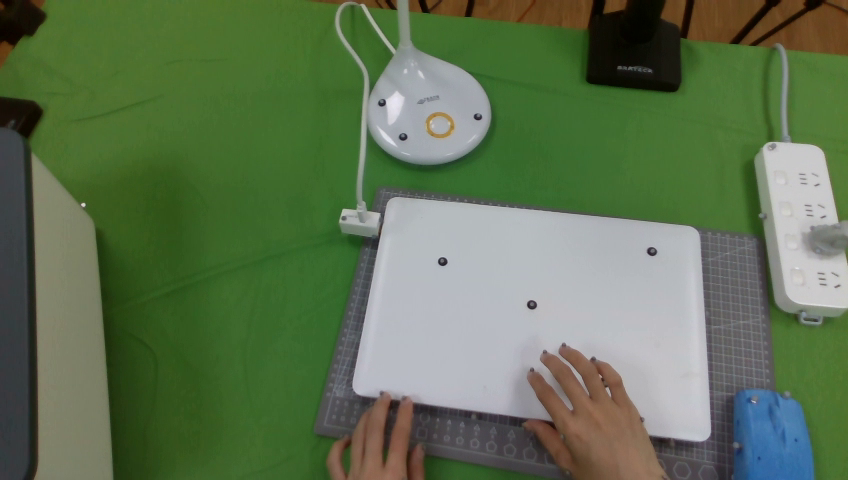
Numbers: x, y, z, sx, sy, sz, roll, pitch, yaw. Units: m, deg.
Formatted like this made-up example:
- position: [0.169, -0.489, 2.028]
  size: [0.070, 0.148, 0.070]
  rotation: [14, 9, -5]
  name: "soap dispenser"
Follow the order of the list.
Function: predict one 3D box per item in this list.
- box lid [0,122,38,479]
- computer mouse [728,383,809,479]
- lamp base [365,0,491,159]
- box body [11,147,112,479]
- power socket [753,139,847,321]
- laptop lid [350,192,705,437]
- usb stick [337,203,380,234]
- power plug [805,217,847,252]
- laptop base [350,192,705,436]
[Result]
- position: [-0.463, 0.067, 0.508]
  size: [0.263, 0.015, 0.368]
  rotation: [-16, 64, -7]
  name: "box lid"
- position: [0.322, 0.191, 0.569]
  size: [0.062, 0.041, 0.116]
  rotation: [11, 60, 10]
  name: "computer mouse"
- position: [-0.005, -0.216, 0.712]
  size: [0.161, 0.182, 0.177]
  rotation: [-27, 62, -12]
  name: "lamp base"
- position: [-0.461, 0.104, 0.574]
  size: [0.254, 0.161, 0.360]
  rotation: [-16, 63, -7]
  name: "box body"
- position: [0.420, -0.020, 0.680]
  size: [0.072, 0.033, 0.225]
  rotation: [7, 63, 4]
  name: "power socket"
- position: [0.112, 0.066, 0.641]
  size: [0.356, 0.013, 0.240]
  rotation: [8, 66, 6]
  name: "laptop lid"
- position: [-0.068, -0.023, 0.692]
  size: [0.059, 0.027, 0.021]
  rotation: [11, 58, 4]
  name: "usb stick"
- position: [0.444, 0.000, 0.642]
  size: [0.072, 0.053, 0.035]
  rotation: [16, 64, 8]
  name: "power plug"
- position: [0.113, 0.070, 0.652]
  size: [0.354, 0.023, 0.234]
  rotation: [6, 67, 5]
  name: "laptop base"
